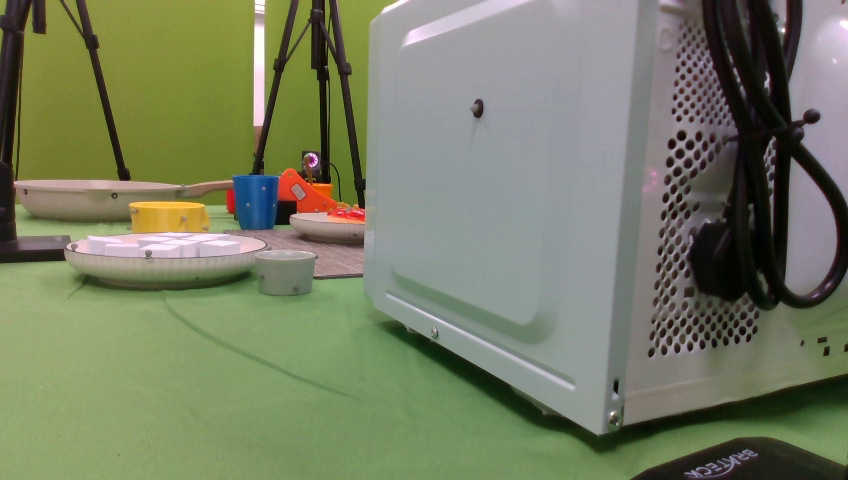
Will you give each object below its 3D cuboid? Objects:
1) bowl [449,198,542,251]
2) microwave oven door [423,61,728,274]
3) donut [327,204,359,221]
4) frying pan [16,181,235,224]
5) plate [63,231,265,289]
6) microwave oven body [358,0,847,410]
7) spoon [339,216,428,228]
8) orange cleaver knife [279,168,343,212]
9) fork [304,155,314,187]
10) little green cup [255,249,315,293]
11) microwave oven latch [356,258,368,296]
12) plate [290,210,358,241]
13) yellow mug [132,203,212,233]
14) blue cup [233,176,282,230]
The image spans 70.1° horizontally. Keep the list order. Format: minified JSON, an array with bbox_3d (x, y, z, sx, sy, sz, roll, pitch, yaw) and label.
[{"bbox_3d":[0.115,-0.026,0.987,0.151,0.077,0.151,1,8,0],"label":"bowl"},{"bbox_3d":[0.173,-0.094,0.754,0.355,0.243,0.039,4,8,19],"label":"microwave oven door"},{"bbox_3d":[-0.120,-0.037,1.056,0.099,0.048,0.099,5,7,0],"label":"donut"},{"bbox_3d":[-0.554,-0.097,1.266,0.490,0.102,0.305,-10,13,-24],"label":"frying pan"},{"bbox_3d":[-0.288,0.021,0.687,0.208,0.039,0.207,2,8,0],"label":"plate"},{"bbox_3d":[0.210,-0.051,0.472,0.444,0.260,0.324,-1,7,-28],"label":"microwave oven body"},{"bbox_3d":[-0.087,-0.041,1.268,0.193,0.021,0.041,4,25,13],"label":"spoon"},{"bbox_3d":[-0.236,-0.084,1.333,0.212,0.077,0.012,31,-9,-32],"label":"orange cleaver knife"},{"bbox_3d":[-0.268,-0.134,1.446,0.028,0.018,0.207,2,-36,-1],"label":"fork"},{"bbox_3d":[-0.144,0.031,0.627,0.061,0.038,0.061,2,6,0],"label":"little green cup"},{"bbox_3d":[-0.019,0.031,0.528,0.079,0.029,0.030,-1,7,-25],"label":"microwave oven latch"},{"bbox_3d":[-0.127,-0.025,1.051,0.209,0.038,0.209,2,7,0],"label":"plate"},{"bbox_3d":[-0.356,-0.020,0.878,0.099,0.064,0.131,4,7,22],"label":"yellow mug"},{"bbox_3d":[-0.314,-0.071,1.141,0.093,0.100,0.092,0,7,0],"label":"blue cup"}]
